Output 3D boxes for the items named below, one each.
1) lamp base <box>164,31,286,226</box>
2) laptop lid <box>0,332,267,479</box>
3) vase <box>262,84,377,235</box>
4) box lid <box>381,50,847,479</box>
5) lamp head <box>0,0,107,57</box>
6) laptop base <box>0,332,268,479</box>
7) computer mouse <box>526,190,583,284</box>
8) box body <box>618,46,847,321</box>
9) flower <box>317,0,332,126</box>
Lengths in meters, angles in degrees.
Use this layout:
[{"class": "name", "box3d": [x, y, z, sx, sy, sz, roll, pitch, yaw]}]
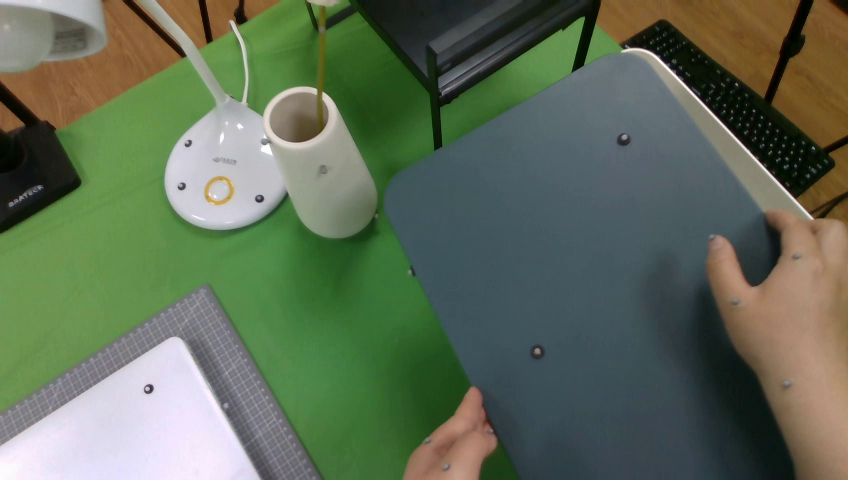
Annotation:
[{"class": "lamp base", "box3d": [-0.248, -0.132, 0.689, 0.160, 0.181, 0.178, -2, 65, 2]}, {"class": "laptop lid", "box3d": [-0.347, 0.281, 0.605, 0.357, 0.013, 0.240, -32, 73, -9]}, {"class": "vase", "box3d": [-0.111, -0.081, 0.651, 0.098, 0.201, 0.097, -2, 67, 5]}, {"class": "box lid", "box3d": [0.144, 0.037, 0.476, 0.263, 0.015, 0.368, -29, 70, 4]}, {"class": "lamp head", "box3d": [-0.271, -0.190, 0.391, 0.112, 0.112, 0.122, -5, 86, 1]}, {"class": "laptop base", "box3d": [-0.348, 0.283, 0.617, 0.354, 0.023, 0.234, -34, 74, -10]}, {"class": "computer mouse", "box3d": [0.148, -0.007, 0.689, 0.063, 0.041, 0.116, 1, 64, 7]}, {"class": "box body", "box3d": [0.213, 0.024, 0.613, 0.254, 0.161, 0.361, -31, 70, -9]}, {"class": "flower", "box3d": [-0.099, -0.122, 0.579, 0.038, 0.364, 0.043, -19, 58, -22]}]
